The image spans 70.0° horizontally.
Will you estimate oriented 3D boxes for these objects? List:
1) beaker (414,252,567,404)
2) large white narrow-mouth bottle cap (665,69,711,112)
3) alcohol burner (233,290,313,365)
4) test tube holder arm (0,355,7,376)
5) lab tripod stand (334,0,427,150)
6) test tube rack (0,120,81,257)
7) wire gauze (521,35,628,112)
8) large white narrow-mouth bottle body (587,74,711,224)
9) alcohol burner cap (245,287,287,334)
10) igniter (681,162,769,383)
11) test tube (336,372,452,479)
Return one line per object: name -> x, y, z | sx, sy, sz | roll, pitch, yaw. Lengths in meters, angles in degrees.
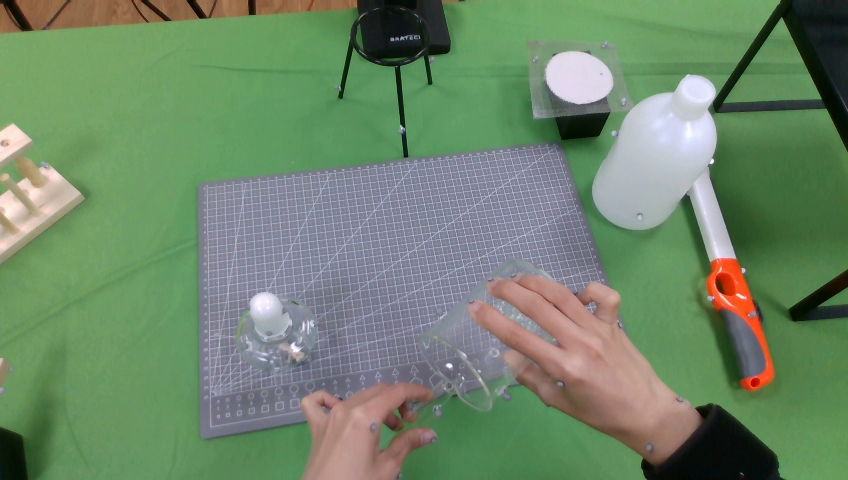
beaker -> 0.053, 0.064, 0.463 | 0.100, 0.084, 0.073 | -40, 71, -22
large white narrow-mouth bottle cap -> 0.253, -0.144, 0.583 | 0.038, 0.024, 0.037 | 1, 62, -2
alcohol burner -> -0.148, 0.079, 0.587 | 0.078, 0.120, 0.077 | 2, 61, -4
test tube holder arm -> -0.403, 0.185, 0.522 | 0.013, 0.015, 0.177 | 0, 62, 7
lab tripod stand -> -0.043, -0.204, 0.729 | 0.148, 0.132, 0.147 | 2, 63, -4
test tube rack -> -0.498, -0.010, 0.631 | 0.066, 0.086, 0.242 | 37, 67, 15
wire gauze -> 0.186, -0.211, 0.760 | 0.121, 0.011, 0.124 | -1, 63, -3
large white narrow-mouth bottle body -> 0.250, -0.103, 0.659 | 0.102, 0.196, 0.101 | 1, 62, -2
alcohol burner cap -> -0.146, 0.062, 0.554 | 0.034, 0.048, 0.033 | 0, 57, 0
igniter -> 0.337, 0.027, 0.692 | 0.057, 0.025, 0.274 | 3, 62, -14
test tube -> -0.028, 0.162, 0.503 | 0.017, 0.017, 0.150 | 48, 111, 19
